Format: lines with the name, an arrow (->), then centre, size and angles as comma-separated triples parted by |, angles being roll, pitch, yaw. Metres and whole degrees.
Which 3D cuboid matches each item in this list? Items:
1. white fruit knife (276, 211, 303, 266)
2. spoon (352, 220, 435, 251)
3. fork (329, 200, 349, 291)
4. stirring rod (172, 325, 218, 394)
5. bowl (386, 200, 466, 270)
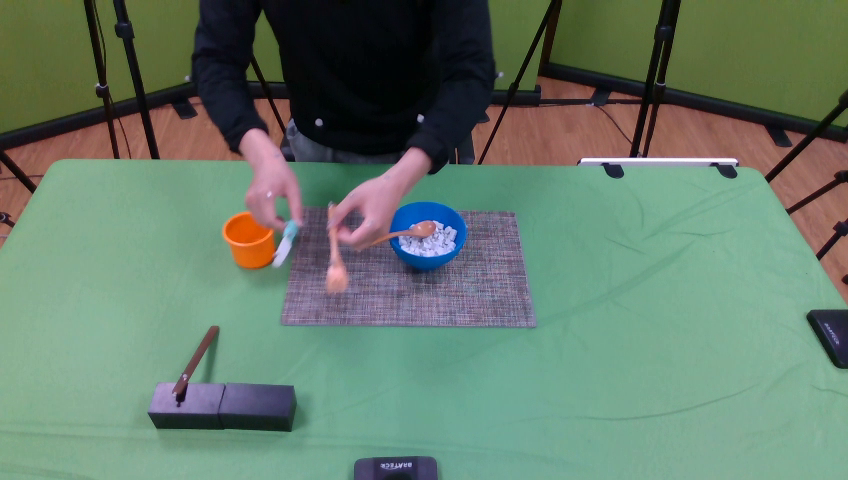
white fruit knife -> -0.203, -0.005, 0.912 | 0.016, 0.027, 0.206 | -17, 21, 2
spoon -> -0.054, -0.009, 1.110 | 0.194, 0.022, 0.041 | -14, 41, -43
fork -> -0.132, 0.004, 0.910 | 0.028, 0.019, 0.206 | -16, 45, 3
stirring rod -> -0.361, 0.185, 0.962 | 0.014, 0.006, 0.175 | 1, 26, 0
bowl -> 0.002, 0.003, 1.150 | 0.151, 0.077, 0.150 | 2, 46, -2
